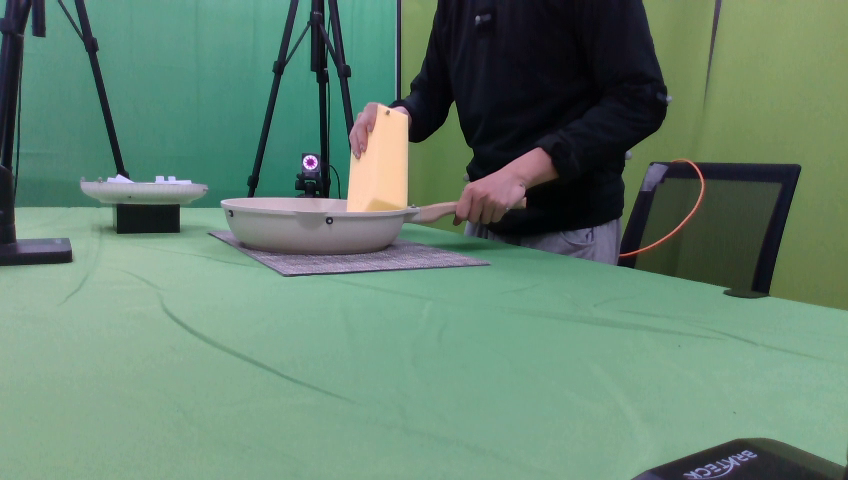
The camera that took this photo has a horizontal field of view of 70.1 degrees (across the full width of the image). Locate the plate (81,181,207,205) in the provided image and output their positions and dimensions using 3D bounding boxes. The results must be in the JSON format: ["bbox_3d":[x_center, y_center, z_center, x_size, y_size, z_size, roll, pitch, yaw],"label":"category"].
[{"bbox_3d":[-0.505,-0.086,1.100,0.208,0.039,0.207,2,6,0],"label":"plate"}]

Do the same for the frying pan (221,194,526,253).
[{"bbox_3d":[-0.070,-0.043,0.984,0.489,0.102,0.306,-7,9,-5],"label":"frying pan"}]

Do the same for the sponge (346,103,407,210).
[{"bbox_3d":[-0.081,-0.114,1.029,0.061,0.206,0.118,16,-37,-24],"label":"sponge"}]
